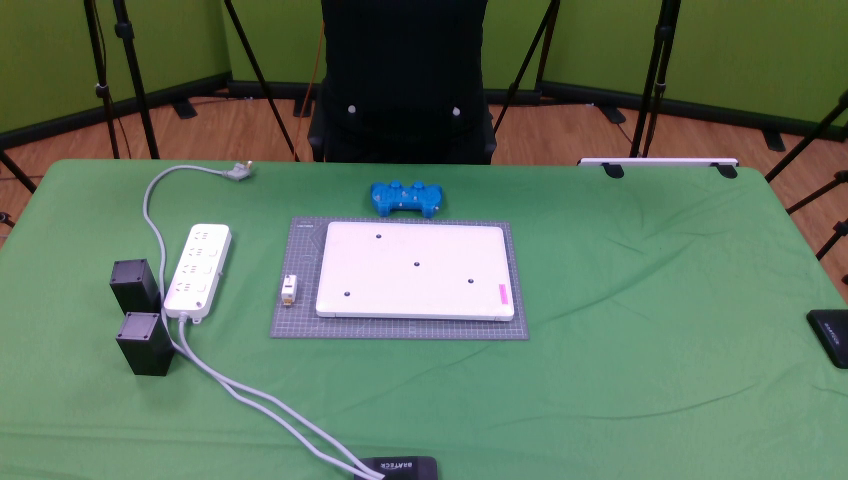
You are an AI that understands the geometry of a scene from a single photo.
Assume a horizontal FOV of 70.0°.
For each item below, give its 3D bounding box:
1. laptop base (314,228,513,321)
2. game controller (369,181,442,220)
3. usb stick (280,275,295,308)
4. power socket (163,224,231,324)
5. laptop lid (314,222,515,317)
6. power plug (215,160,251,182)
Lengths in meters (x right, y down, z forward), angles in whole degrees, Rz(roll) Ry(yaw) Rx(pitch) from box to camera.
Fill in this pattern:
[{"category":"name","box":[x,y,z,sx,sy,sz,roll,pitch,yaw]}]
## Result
[{"category":"laptop base","box":[-0.017,0.059,1.141,0.354,0.023,0.234,2,42,-3]},{"category":"game controller","box":[-0.039,-0.092,1.268,0.155,0.052,0.096,2,50,-2]},{"category":"usb stick","box":[-0.244,0.093,1.081,0.021,0.027,0.059,3,47,-4]},{"category":"power socket","box":[-0.411,0.052,1.106,0.072,0.033,0.225,3,46,-3]},{"category":"laptop lid","box":[-0.016,0.049,1.134,0.357,0.013,0.240,3,43,-2]},{"category":"power plug","box":[-0.409,-0.155,1.303,0.072,0.035,0.052,22,66,1]}]
